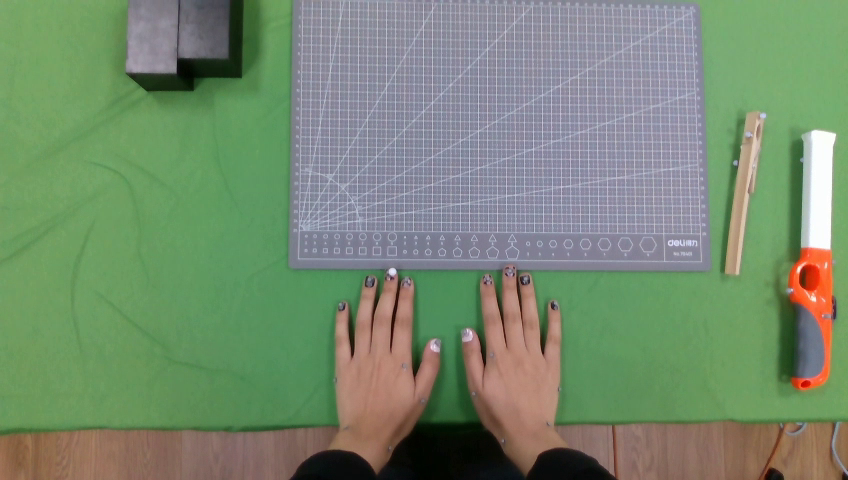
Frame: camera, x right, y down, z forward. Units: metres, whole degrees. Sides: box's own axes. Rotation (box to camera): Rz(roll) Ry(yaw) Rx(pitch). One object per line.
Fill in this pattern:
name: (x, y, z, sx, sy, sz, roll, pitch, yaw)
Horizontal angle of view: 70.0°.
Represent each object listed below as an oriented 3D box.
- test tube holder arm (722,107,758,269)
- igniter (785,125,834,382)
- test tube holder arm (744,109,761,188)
test tube holder arm: (0.342, -0.057, 0.656, 0.013, 0.015, 0.178, 13, 85, -34)
igniter: (0.416, 0.014, 0.651, 0.057, 0.025, 0.276, 6, 85, -12)
test tube holder arm: (0.355, -0.100, 0.663, 0.010, 0.015, 0.087, 15, 84, -34)
